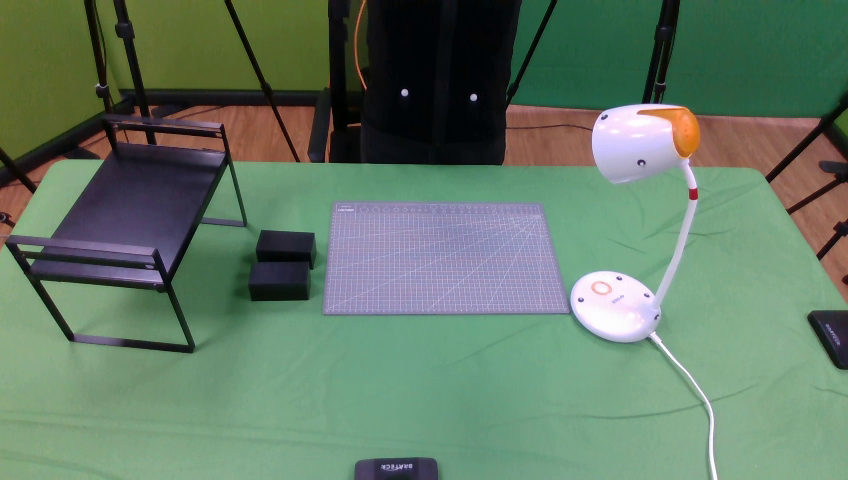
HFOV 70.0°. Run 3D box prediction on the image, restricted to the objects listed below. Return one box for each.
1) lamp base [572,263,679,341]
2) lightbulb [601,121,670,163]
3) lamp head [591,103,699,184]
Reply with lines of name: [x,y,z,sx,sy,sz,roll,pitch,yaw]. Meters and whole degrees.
lamp base: [0.362,0.071,1.044,0.178,0.181,0.160,38,55,26]
lightbulb: [0.300,-0.142,0.859,0.059,0.059,0.107,-29,14,-28]
lamp head: [0.314,-0.136,0.839,0.112,0.113,0.122,-38,24,-33]
